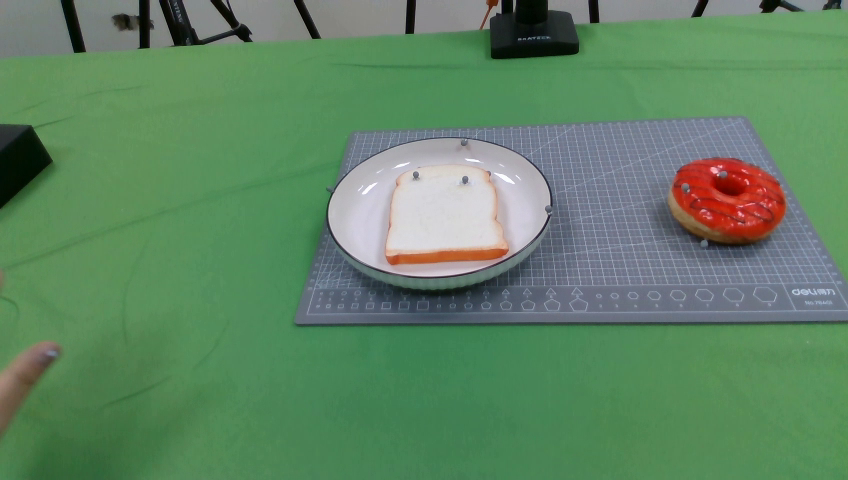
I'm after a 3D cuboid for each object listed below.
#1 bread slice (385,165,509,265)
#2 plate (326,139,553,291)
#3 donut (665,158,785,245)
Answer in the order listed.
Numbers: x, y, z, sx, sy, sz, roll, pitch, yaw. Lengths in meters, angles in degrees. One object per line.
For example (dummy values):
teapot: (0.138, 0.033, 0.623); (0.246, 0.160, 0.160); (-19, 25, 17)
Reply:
bread slice: (0.017, -0.026, 0.571); (0.107, 0.018, 0.133); (-5, 42, 0)
plate: (0.015, -0.024, 0.566); (0.209, 0.038, 0.207); (-3, 42, 3)
donut: (0.268, -0.034, 0.541); (0.099, 0.049, 0.098); (-2, 44, 2)
